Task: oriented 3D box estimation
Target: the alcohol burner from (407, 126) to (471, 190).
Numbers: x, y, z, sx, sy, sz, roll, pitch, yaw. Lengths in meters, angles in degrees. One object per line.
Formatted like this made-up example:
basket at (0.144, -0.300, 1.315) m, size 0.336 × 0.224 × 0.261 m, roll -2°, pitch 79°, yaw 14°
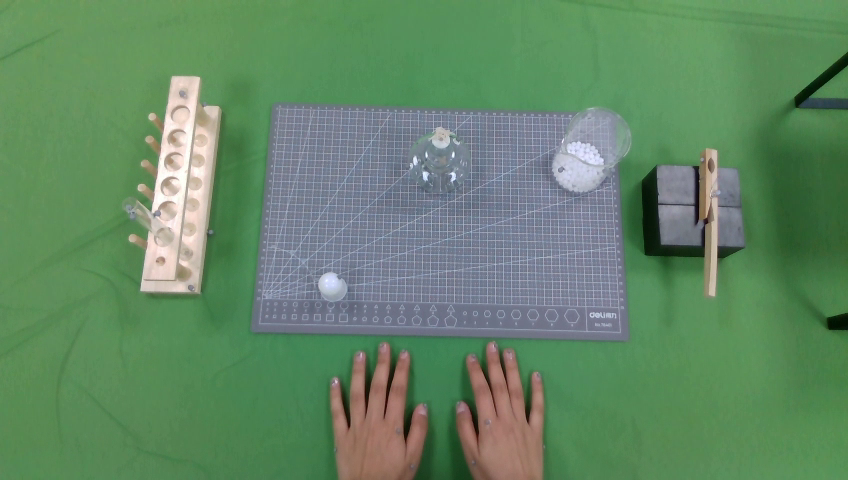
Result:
alcohol burner at (0.018, -0.104, 0.717) m, size 0.078 × 0.119 × 0.077 m, roll 0°, pitch 76°, yaw 1°

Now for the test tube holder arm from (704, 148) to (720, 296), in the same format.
test tube holder arm at (0.337, -0.023, 0.710) m, size 0.013 × 0.015 × 0.177 m, roll 2°, pitch 77°, yaw 1°

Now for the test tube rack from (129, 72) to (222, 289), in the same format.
test tube rack at (-0.297, -0.069, 0.715) m, size 0.067 × 0.085 × 0.241 m, roll 2°, pitch 75°, yaw -1°

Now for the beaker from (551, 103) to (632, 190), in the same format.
beaker at (0.194, -0.106, 0.731) m, size 0.084 × 0.101 × 0.073 m, roll -20°, pitch 76°, yaw -6°

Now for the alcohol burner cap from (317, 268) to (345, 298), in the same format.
alcohol burner cap at (-0.111, 0.048, 0.710) m, size 0.034 × 0.048 × 0.033 m, roll 1°, pitch 75°, yaw -3°

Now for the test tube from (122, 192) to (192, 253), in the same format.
test tube at (-0.282, -0.015, 0.650) m, size 0.017 × 0.151 × 0.017 m, roll 0°, pitch 71°, yaw 0°

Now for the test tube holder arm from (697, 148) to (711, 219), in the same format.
test tube holder arm at (0.333, -0.067, 0.721) m, size 0.010 × 0.015 × 0.087 m, roll 4°, pitch 77°, yaw 1°
